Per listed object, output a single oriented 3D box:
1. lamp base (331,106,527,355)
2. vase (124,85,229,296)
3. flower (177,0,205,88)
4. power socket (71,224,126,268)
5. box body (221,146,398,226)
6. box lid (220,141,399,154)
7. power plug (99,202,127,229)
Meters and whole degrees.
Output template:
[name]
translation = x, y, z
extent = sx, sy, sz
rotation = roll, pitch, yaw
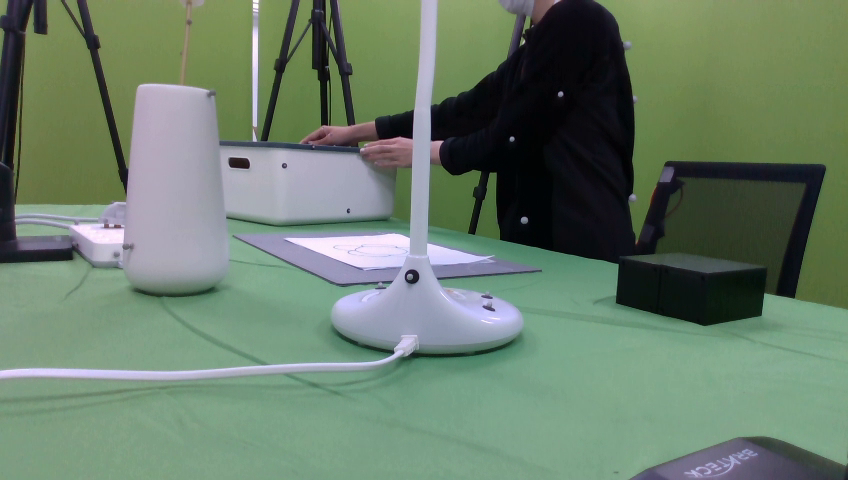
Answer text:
[lamp base]
translation = 0.006, -0.012, 0.478
extent = 0.161, 0.180, 0.179
rotation = 2, 10, 2
[vase]
translation = -0.244, -0.047, 0.598
extent = 0.098, 0.200, 0.098
rotation = 3, 8, 0
[flower]
translation = -0.243, -0.131, 0.609
extent = 0.044, 0.361, 0.038
rotation = -5, -12, 12
[power socket]
translation = -0.409, 0.004, 0.793
extent = 0.072, 0.032, 0.225
rotation = -2, 8, -37
[box body]
translation = -0.264, -0.129, 1.380
extent = 0.253, 0.160, 0.366
rotation = 8, 9, 39
[box lid]
translation = -0.264, -0.207, 1.367
extent = 0.262, 0.015, 0.373
rotation = 8, 9, 39
[power plug]
translation = -0.415, -0.026, 0.848
extent = 0.073, 0.052, 0.035
rotation = 6, 5, -28
